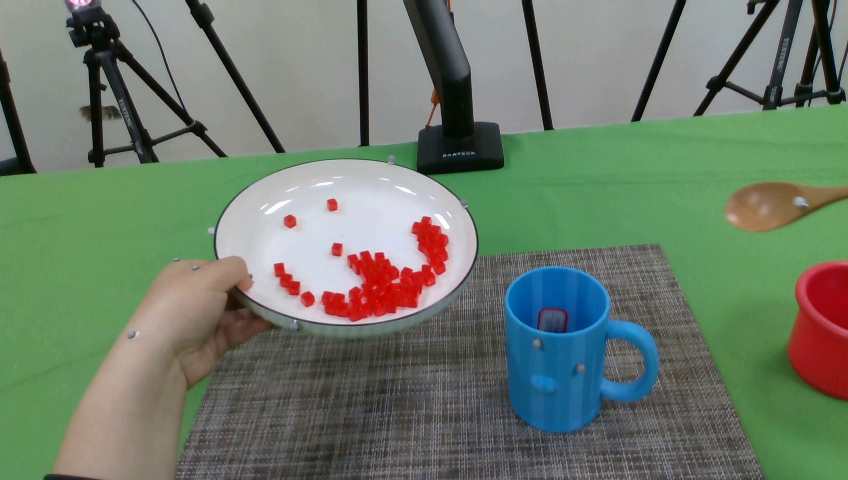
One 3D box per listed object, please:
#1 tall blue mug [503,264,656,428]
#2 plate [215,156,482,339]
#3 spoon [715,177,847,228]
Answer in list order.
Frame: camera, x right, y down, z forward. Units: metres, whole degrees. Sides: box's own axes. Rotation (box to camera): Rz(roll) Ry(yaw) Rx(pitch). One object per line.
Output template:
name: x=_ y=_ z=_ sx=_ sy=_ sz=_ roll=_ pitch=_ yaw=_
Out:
tall blue mug: x=0.117 y=0.083 z=0.477 sx=0.107 sy=0.109 sz=0.077 roll=-8 pitch=36 yaw=-1
plate: x=-0.058 y=0.004 z=0.492 sx=0.208 sy=0.039 sz=0.205 roll=4 pitch=41 yaw=-3
spoon: x=0.265 y=-0.032 z=0.366 sx=0.041 sy=0.022 sz=0.193 roll=-64 pitch=20 yaw=-16
